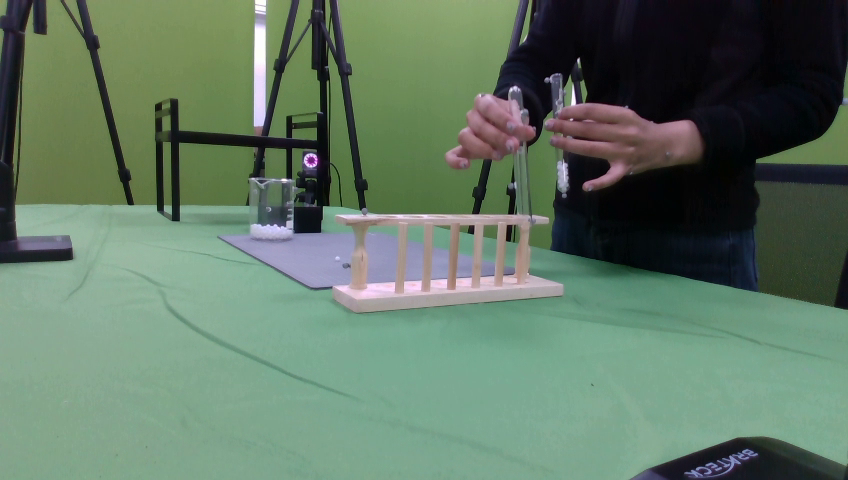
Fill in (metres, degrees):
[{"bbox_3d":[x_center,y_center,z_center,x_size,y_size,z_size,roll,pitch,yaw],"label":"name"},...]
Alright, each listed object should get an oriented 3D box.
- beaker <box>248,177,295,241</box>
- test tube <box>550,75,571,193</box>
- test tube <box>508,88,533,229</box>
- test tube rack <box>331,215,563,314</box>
[{"bbox_3d":[-0.252,-0.051,0.992,0.074,0.100,0.084,3,9,6],"label":"beaker"},{"bbox_3d":[0.170,-0.132,0.753,0.017,0.150,0.017,-3,-7,0],"label":"test tube"},{"bbox_3d":[0.102,-0.086,0.640,0.017,0.150,0.017,-5,0,0],"label":"test tube"},{"bbox_3d":[0.031,0.019,0.625,0.243,0.085,0.066,-1,8,-28],"label":"test tube rack"}]
